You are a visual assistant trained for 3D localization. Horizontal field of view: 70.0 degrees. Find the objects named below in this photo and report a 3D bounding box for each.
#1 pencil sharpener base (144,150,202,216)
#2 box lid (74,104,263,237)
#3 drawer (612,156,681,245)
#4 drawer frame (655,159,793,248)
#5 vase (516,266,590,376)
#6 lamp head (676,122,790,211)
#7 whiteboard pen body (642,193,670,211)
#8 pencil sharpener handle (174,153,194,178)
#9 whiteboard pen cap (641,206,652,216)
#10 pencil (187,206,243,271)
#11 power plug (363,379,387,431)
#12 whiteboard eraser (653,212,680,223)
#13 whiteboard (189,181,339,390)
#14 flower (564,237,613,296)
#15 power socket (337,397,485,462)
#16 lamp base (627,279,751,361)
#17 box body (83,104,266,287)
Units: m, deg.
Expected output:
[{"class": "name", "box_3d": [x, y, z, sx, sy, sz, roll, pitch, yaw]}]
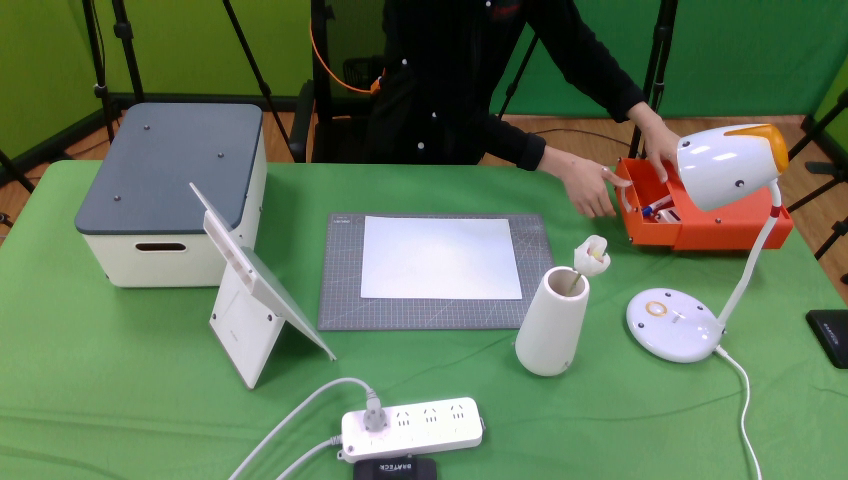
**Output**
[{"class": "pencil sharpener base", "box_3d": [-0.493, -0.113, 1.199, 0.061, 0.107, 0.076, 15, 46, 12]}, {"class": "box lid", "box_3d": [-0.443, -0.139, 1.095, 0.263, 0.015, 0.369, -1, 45, -5]}, {"class": "drawer", "box_3d": [0.501, -0.078, 1.211, 0.212, 0.073, 0.193, 3, 45, -3]}, {"class": "drawer frame", "box_3d": [0.580, -0.076, 1.215, 0.214, 0.083, 0.200, 0, 45, 0]}, {"class": "vase", "box_3d": [0.208, 0.132, 0.964, 0.098, 0.201, 0.097, 3, 46, -3]}, {"class": "lamp head", "box_3d": [0.423, -0.104, 0.819, 0.122, 0.113, 0.112, -13, 33, 40]}, {"class": "whiteboard pen body", "box_3d": [0.490, -0.084, 1.239, 0.141, 0.017, 0.017, -25, 53, -28]}, {"class": "pencil sharpener handle", "box_3d": [-0.479, -0.156, 1.225, 0.036, 0.068, 0.030, 23, 47, 2]}, {"class": "whiteboard pen cap", "box_3d": [0.441, -0.057, 1.216, 0.033, 0.018, 0.018, -26, 53, -25]}, {"class": "pencil", "box_3d": [-0.401, -0.009, 1.176, 0.012, 0.012, 0.193, 15, 44, 10]}, {"class": "power plug", "box_3d": [-0.072, 0.252, 0.910, 0.035, 0.053, 0.072, 3, 44, -1]}, {"class": "whiteboard eraser", "box_3d": [0.507, -0.022, 1.205, 0.113, 0.042, 0.055, 11, 30, -34]}, {"class": "whiteboard", "box_3d": [-0.292, 0.096, 0.929, 0.144, 0.307, 0.216, -37, 57, -10]}, {"class": "flower", "box_3d": [0.206, 0.088, 0.893, 0.038, 0.363, 0.044, -18, 67, -10]}, {"class": "power socket", "box_3d": [-0.018, 0.285, 0.915, 0.227, 0.033, 0.071, -5, 46, -8]}, {"class": "lamp base", "box_3d": [0.460, 0.100, 1.027, 0.178, 0.181, 0.160, 27, 51, 17]}, {"class": "box body", "box_3d": [-0.446, -0.088, 1.150, 0.254, 0.161, 0.361, -1, 46, -5]}]
